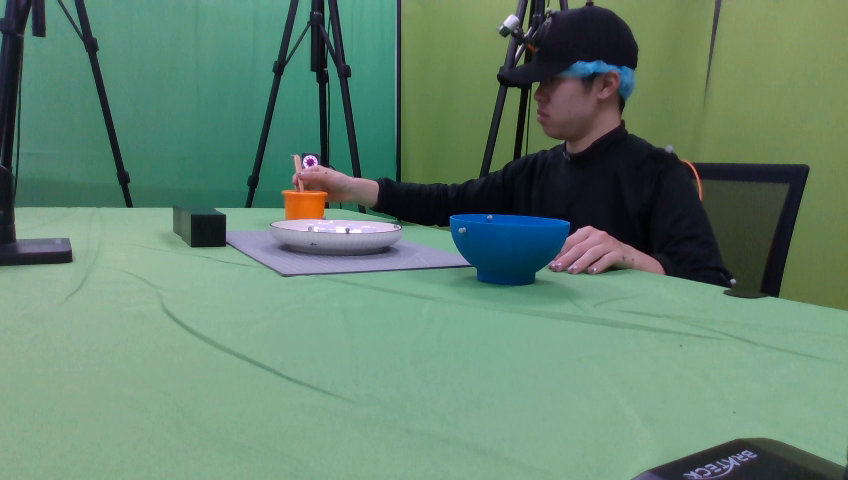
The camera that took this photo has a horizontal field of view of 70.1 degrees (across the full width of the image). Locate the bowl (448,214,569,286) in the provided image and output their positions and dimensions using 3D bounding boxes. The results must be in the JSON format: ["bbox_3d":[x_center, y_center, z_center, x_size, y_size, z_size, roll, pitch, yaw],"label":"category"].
[{"bbox_3d":[0.102,0.012,0.758,0.151,0.077,0.151,3,7,0],"label":"bowl"}]

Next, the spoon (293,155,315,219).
[{"bbox_3d":[-0.257,-0.107,1.263,0.042,0.193,0.021,-8,-30,-10],"label":"spoon"}]

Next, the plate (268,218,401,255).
[{"bbox_3d":[-0.140,-0.006,0.958,0.209,0.038,0.209,3,7,0],"label":"plate"}]

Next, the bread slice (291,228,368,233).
[{"bbox_3d":[-0.143,-0.004,0.953,0.135,0.018,0.106,-2,9,-37],"label":"bread slice"}]
